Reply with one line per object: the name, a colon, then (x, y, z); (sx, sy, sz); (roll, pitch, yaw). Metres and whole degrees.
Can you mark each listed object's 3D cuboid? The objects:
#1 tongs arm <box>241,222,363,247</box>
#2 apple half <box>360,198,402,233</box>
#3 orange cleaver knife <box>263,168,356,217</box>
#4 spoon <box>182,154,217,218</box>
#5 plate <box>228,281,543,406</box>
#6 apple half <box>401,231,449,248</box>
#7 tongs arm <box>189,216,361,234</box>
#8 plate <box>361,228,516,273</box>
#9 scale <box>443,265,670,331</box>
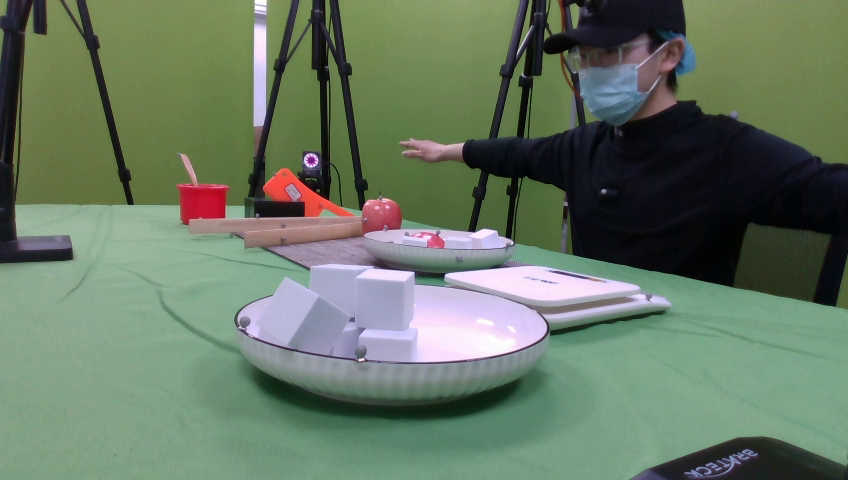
tongs arm: (-0.159, -0.017, 1.034); (0.028, 0.028, 0.389); (2, 6, 33)
apple half: (-0.066, -0.033, 1.014); (0.053, 0.074, 0.081); (9, 6, 21)
orange cleaver knife: (-0.241, -0.078, 1.296); (0.212, 0.077, 0.012); (32, -11, -26)
spoon: (-0.455, -0.107, 1.212); (0.042, 0.021, 0.193); (-6, 55, -35)
plate: (-0.025, 0.067, 0.413); (0.208, 0.039, 0.207); (3, 7, 0)
apple half: (0.003, 0.005, 0.843); (0.081, 0.033, 0.081); (1, 4, 0)
tongs arm: (-0.221, -0.028, 1.088); (0.387, 0.026, 0.050); (-3, 8, -43)
plate: (0.018, 0.013, 0.818); (0.209, 0.038, 0.209); (2, 7, 0)
scale: (0.131, 0.052, 0.603); (0.202, 0.031, 0.148); (-3, 9, -37)
